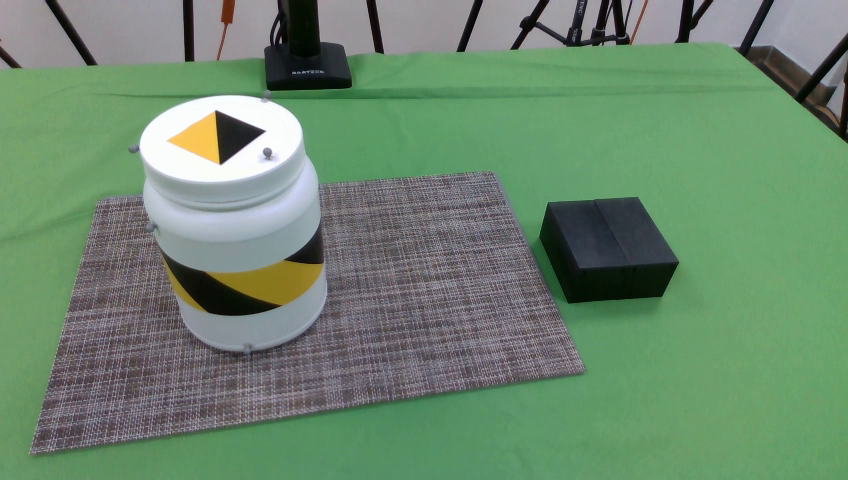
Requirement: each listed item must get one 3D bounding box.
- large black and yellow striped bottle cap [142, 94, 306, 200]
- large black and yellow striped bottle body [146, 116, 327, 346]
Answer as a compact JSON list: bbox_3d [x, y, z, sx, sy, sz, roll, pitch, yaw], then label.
[{"bbox_3d":[-0.147,-0.072,0.450,0.115,0.019,0.114,2,44,-2],"label":"large black and yellow striped bottle cap"},{"bbox_3d":[-0.152,-0.013,0.510,0.131,0.185,0.129,3,44,-2],"label":"large black and yellow striped bottle body"}]
